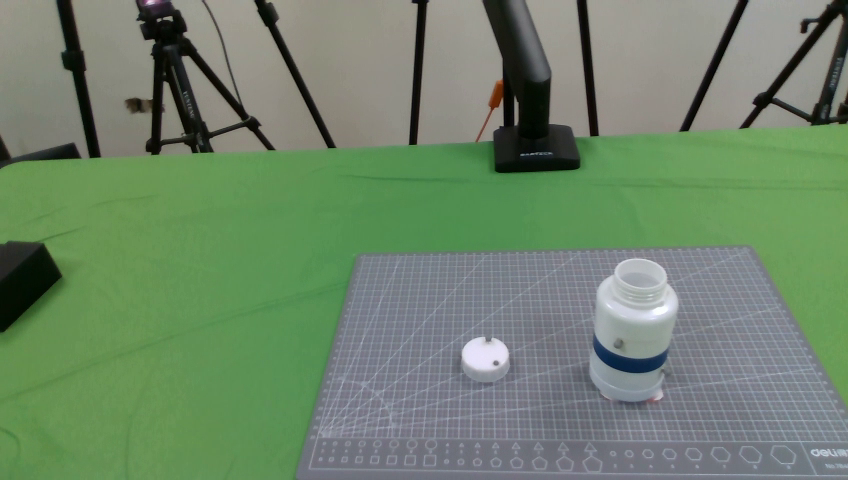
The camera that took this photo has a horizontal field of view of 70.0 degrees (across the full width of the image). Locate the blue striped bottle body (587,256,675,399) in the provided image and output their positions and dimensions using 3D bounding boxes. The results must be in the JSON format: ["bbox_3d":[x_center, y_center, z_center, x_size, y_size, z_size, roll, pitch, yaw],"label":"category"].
[{"bbox_3d":[0.173,0.071,0.509,0.063,0.122,0.062,-4,37,3],"label":"blue striped bottle body"}]

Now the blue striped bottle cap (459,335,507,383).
[{"bbox_3d":[0.055,0.110,0.563,0.044,0.021,0.044,-3,35,2],"label":"blue striped bottle cap"}]
